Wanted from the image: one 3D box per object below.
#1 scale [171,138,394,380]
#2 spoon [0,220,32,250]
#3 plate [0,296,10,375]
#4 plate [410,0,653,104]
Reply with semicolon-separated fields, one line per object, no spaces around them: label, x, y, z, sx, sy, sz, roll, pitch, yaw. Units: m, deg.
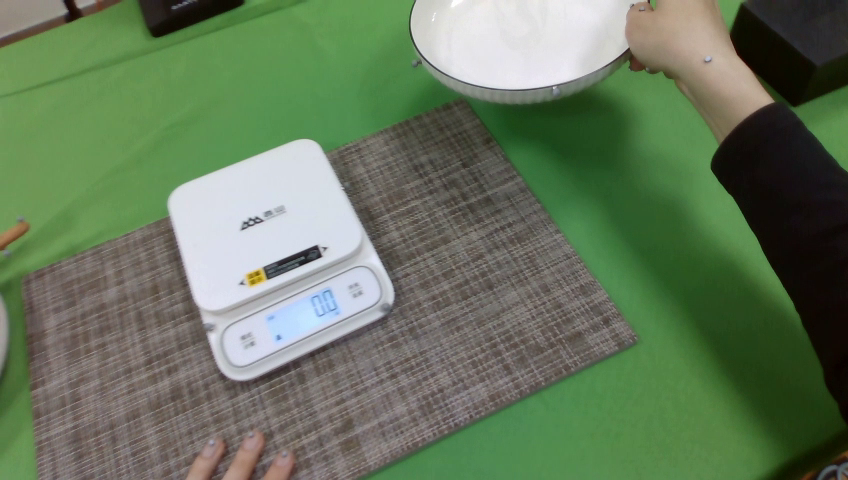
scale;-0.126;0.006;0.520;0.149;0.032;0.199;-25;58;-8
spoon;-0.422;0.045;0.516;0.193;0.022;0.041;-41;60;-9
plate;-0.438;0.113;0.493;0.209;0.038;0.207;-3;57;5
plate;0.093;-0.193;0.542;0.207;0.039;0.205;-5;56;7
